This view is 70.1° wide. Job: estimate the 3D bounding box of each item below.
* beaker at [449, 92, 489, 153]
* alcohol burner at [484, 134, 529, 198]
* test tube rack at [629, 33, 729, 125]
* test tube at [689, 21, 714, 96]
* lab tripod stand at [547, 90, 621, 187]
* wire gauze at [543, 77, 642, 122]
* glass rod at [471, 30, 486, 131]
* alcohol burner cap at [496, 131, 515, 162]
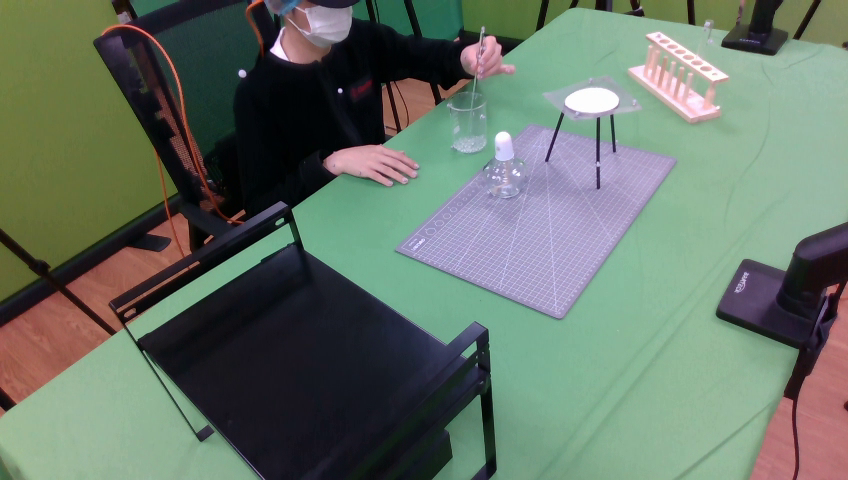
[{"bbox_3d":[0.091,-0.228,1.177,0.073,0.101,0.084,15,45,24],"label":"beaker"},{"bbox_3d":[0.141,-0.133,1.041,0.078,0.119,0.077,-5,43,5],"label":"alcohol burner"},{"bbox_3d":[0.516,-0.337,1.247,0.067,0.085,0.240,-14,41,-7],"label":"test tube rack"},{"bbox_3d":[0.542,-0.353,1.184,0.017,0.151,0.017,-2,40,2],"label":"test tube"},{"bbox_3d":[0.289,-0.184,1.062,0.148,0.132,0.147,-6,41,6],"label":"lab tripod stand"},{"bbox_3d":[0.282,-0.236,1.020,0.125,0.011,0.120,-15,40,-6],"label":"wire gauze"},{"bbox_3d":[0.101,-0.289,1.117,0.008,0.200,0.008,3,41,-2],"label":"glass rod"},{"bbox_3d":[0.135,-0.160,1.019,0.034,0.048,0.033,-8,38,7],"label":"alcohol burner cap"}]
